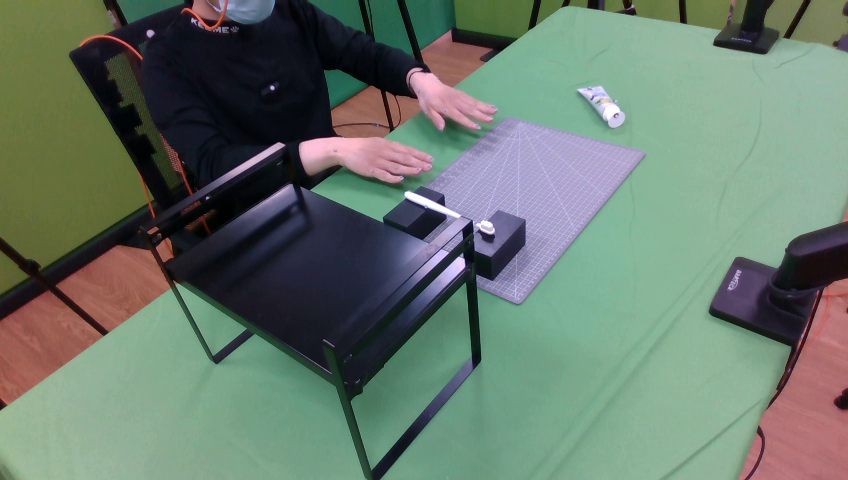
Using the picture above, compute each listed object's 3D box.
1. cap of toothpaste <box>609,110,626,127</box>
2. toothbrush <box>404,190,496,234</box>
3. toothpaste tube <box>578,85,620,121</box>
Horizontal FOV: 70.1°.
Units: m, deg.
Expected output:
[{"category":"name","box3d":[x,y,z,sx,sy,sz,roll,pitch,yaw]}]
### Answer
[{"category":"cap of toothpaste","box3d":[0.376,-0.238,1.179,0.037,0.037,0.011,-16,43,-10]},{"category":"toothbrush","box3d":[0.036,-0.047,0.942,0.180,0.017,0.014,25,61,34]},{"category":"toothpaste tube","box3d":[0.368,-0.285,1.244,0.055,0.034,0.164,-2,36,-7]}]
